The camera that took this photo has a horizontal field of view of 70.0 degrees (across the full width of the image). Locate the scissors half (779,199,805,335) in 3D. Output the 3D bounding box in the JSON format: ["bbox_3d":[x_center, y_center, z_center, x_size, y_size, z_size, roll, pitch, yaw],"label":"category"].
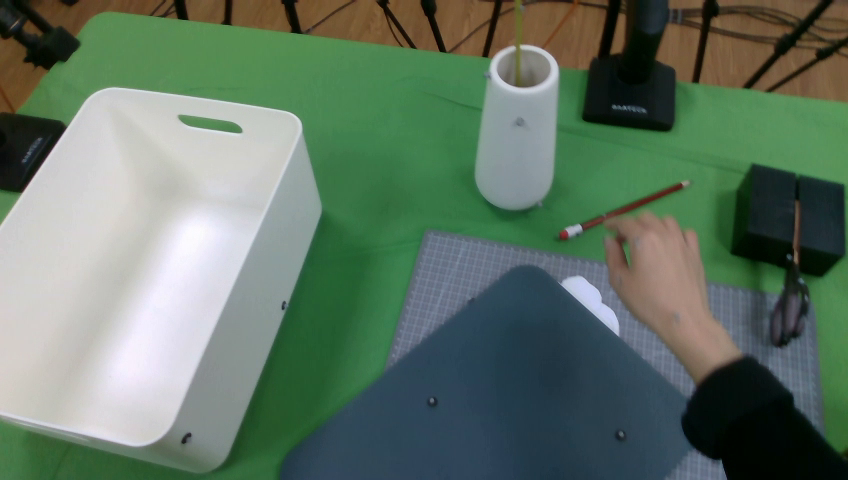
[{"bbox_3d":[0.393,0.022,0.648,0.012,0.040,0.174,13,56,13],"label":"scissors half"}]

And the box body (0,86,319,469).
[{"bbox_3d":[-0.285,0.034,0.645,0.253,0.162,0.361,10,60,9],"label":"box body"}]

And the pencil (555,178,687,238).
[{"bbox_3d":[0.249,-0.042,0.753,0.194,0.012,0.012,-23,60,-12],"label":"pencil"}]

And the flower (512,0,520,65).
[{"bbox_3d":[0.096,-0.179,0.637,0.044,0.365,0.038,4,42,10],"label":"flower"}]

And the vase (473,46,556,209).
[{"bbox_3d":[0.105,-0.123,0.700,0.098,0.202,0.097,-2,57,3],"label":"vase"}]

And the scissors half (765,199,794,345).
[{"bbox_3d":[0.395,0.032,0.666,0.013,0.040,0.174,16,73,8],"label":"scissors half"}]

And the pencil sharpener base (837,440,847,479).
[{"bbox_3d":[0.427,0.210,0.534,0.061,0.108,0.076,7,60,7],"label":"pencil sharpener base"}]

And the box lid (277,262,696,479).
[{"bbox_3d":[0.065,0.204,0.612,0.371,0.015,0.261,-37,64,-17],"label":"box lid"}]
